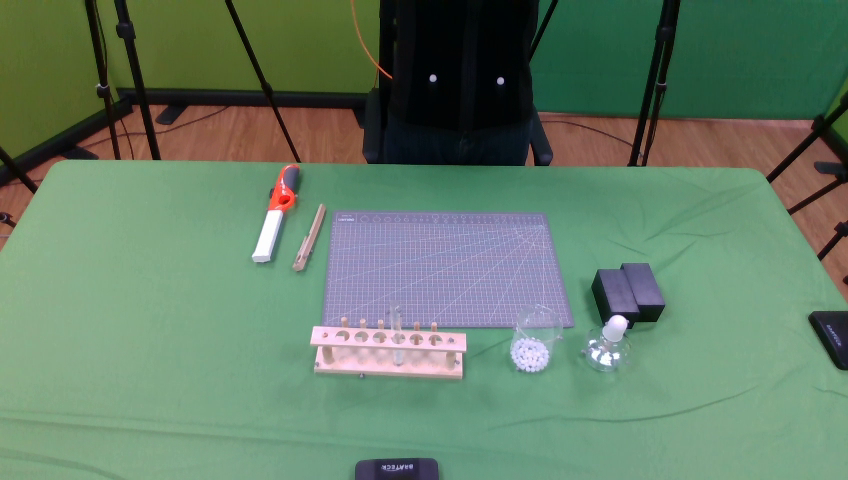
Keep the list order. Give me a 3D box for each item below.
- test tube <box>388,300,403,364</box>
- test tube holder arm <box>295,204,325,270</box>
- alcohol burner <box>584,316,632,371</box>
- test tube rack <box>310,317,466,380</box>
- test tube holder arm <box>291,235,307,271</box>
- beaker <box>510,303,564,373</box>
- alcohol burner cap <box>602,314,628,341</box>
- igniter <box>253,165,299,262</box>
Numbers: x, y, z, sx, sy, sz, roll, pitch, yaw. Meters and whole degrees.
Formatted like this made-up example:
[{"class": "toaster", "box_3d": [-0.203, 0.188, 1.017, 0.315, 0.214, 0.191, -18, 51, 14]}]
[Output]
[{"class": "test tube", "box_3d": [-0.044, 0.146, 0.942, 0.017, 0.151, 0.017, -1, 44, 1]}, {"class": "test tube holder arm", "box_3d": [-0.222, -0.009, 1.192, 0.013, 0.015, 0.177, -16, 38, 26]}, {"class": "alcohol burner", "box_3d": [0.307, 0.163, 0.999, 0.078, 0.120, 0.077, 1, 48, -1]}, {"class": "test tube rack", "box_3d": [-0.056, 0.171, 0.987, 0.242, 0.085, 0.066, 3, 45, -1]}, {"class": "test tube holder arm", "box_3d": [-0.234, 0.024, 1.163, 0.010, 0.015, 0.087, -15, 39, 27]}, {"class": "beaker", "box_3d": [0.182, 0.164, 1.000, 0.074, 0.101, 0.083, 2, 46, -1]}, {"class": "alcohol burner cap", "box_3d": [0.309, 0.138, 0.973, 0.034, 0.048, 0.033, 2, 52, -2]}, {"class": "igniter", "box_3d": [-0.298, -0.063, 1.234, 0.057, 0.025, 0.275, -2, 45, 7]}]
